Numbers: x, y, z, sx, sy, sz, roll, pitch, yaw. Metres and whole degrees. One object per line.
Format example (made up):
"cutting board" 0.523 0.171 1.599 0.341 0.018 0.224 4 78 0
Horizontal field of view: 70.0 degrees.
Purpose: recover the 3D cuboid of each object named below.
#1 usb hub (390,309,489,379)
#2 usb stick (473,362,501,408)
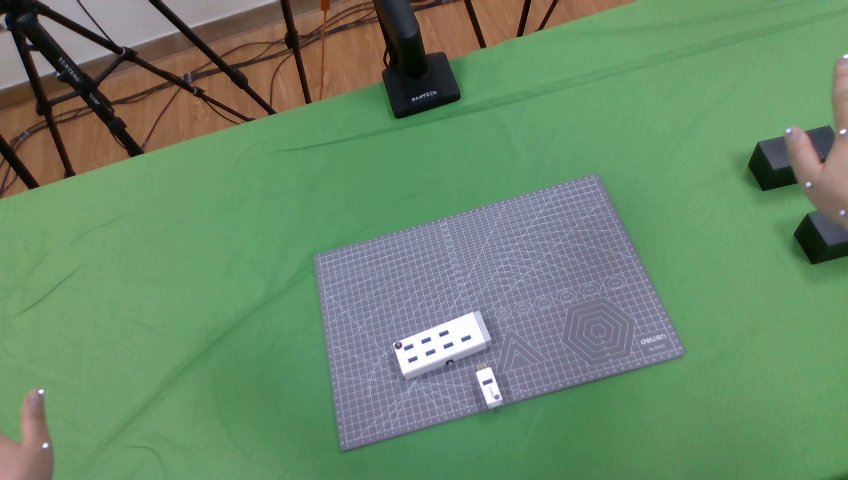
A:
"usb hub" 0.020 0.137 0.804 0.125 0.025 0.049 -21 58 -2
"usb stick" 0.078 0.180 0.767 0.021 0.027 0.058 -22 55 2
